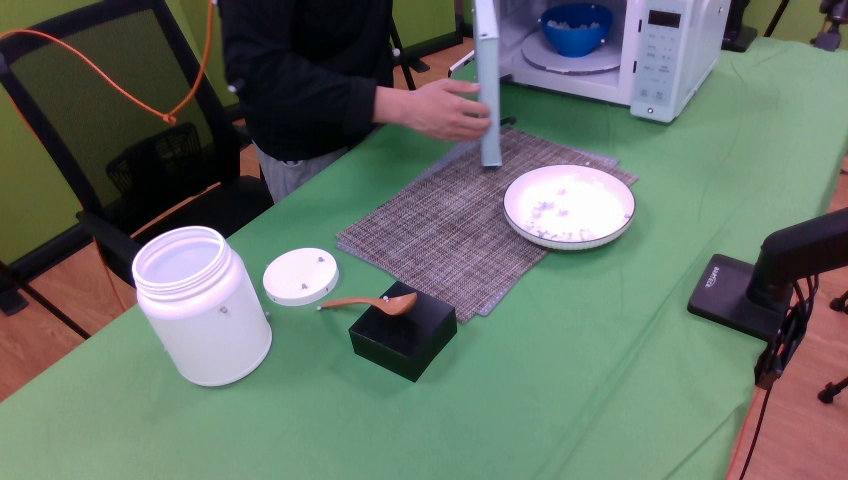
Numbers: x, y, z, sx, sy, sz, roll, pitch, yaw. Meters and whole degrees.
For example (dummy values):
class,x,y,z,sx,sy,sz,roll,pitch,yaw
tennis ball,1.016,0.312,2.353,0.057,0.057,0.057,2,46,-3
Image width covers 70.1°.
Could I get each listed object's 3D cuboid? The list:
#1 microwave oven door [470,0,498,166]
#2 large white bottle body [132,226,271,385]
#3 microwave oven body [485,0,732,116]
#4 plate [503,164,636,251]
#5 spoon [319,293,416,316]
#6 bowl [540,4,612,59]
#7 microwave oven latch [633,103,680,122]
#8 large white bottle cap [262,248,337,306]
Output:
class,x,y,z,sx,sy,sz,roll,pitch,yaw
microwave oven door,0.112,-0.340,1.154,0.039,0.245,0.354,-3,41,6
large white bottle body,-0.285,0.085,0.784,0.130,0.185,0.130,-4,41,4
microwave oven body,0.377,-0.463,1.267,0.438,0.261,0.327,21,49,30
plate,0.232,-0.051,0.976,0.209,0.038,0.208,-3,41,3
spoon,-0.082,0.086,0.826,0.192,0.022,0.041,-3,36,41
bowl,0.323,-0.440,1.297,0.151,0.077,0.150,-4,41,4
microwave oven latch,0.443,-0.249,1.158,0.078,0.029,0.030,21,49,30
large white bottle cap,-0.193,0.056,0.934,0.115,0.018,0.114,-4,41,4
